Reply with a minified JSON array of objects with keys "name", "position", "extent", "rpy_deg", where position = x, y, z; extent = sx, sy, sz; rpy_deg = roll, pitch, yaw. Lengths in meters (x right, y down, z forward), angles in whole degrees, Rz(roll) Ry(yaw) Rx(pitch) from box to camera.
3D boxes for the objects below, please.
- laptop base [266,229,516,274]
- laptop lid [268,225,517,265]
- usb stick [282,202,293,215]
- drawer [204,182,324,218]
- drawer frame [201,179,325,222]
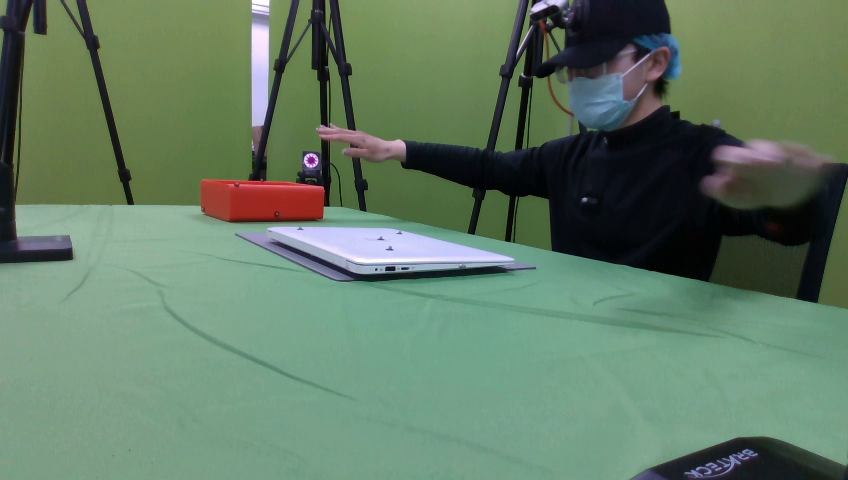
[{"name":"laptop base","position":[-0.065,0.014,0.877],"extent":[0.237,0.023,0.352],"rpy_deg":[2,6,-32]},{"name":"laptop lid","position":[-0.063,0.002,0.877],"extent":[0.243,0.013,0.355],"rpy_deg":[1,7,-30]},{"name":"usb stick","position":[-0.309,-0.072,1.367],"extent":[0.021,0.027,0.059],"rpy_deg":[4,5,-15]},{"name":"drawer","position":[-0.360,-0.091,1.358],"extent":[0.213,0.073,0.193],"rpy_deg":[-4,10,-36]},{"name":"drawer frame","position":[-0.362,-0.092,1.356],"extent":[0.215,0.082,0.200],"rpy_deg":[-4,10,-37]}]
